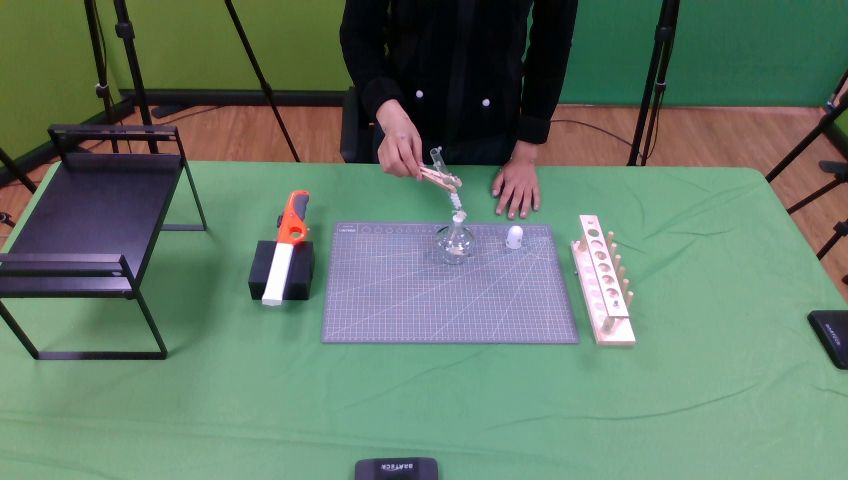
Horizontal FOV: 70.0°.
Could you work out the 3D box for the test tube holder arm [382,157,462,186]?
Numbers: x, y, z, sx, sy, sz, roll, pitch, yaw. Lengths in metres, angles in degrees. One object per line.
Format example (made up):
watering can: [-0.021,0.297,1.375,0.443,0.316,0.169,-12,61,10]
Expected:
test tube holder arm: [-0.008,-0.123,1.079,0.177,0.015,0.013,22,69,35]

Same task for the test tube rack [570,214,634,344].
test tube rack: [0.333,0.067,1.116,0.067,0.085,0.241,1,46,-3]

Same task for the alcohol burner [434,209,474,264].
alcohol burner: [0.058,-0.012,1.147,0.078,0.119,0.077,3,45,-3]

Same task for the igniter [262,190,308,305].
igniter: [-0.252,0.004,1.107,0.057,0.025,0.275,7,47,-6]

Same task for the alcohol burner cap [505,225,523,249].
alcohol burner cap: [0.180,-0.009,1.203,0.034,0.048,0.033,2,47,-2]

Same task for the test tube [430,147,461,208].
test tube: [0.038,-0.102,1.035,0.017,0.151,0.017,-10,53,14]

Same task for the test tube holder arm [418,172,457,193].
test tube holder arm: [0.022,-0.103,1.051,0.087,0.015,0.010,32,75,38]
